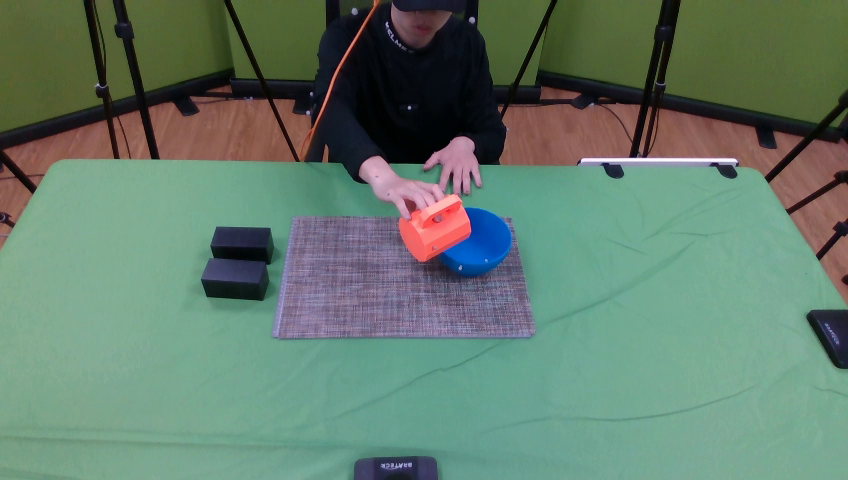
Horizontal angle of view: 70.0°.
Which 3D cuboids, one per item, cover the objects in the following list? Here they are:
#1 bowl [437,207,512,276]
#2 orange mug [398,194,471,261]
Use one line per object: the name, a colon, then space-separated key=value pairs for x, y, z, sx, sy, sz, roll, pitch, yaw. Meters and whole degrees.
bowl: x=0.086 y=0.016 z=1.147 sx=0.151 sy=0.077 sz=0.150 roll=2 pitch=46 yaw=-2
orange mug: x=0.021 y=-0.030 z=1.036 sx=0.101 sy=0.126 sz=0.083 roll=-26 pitch=70 yaw=-25
